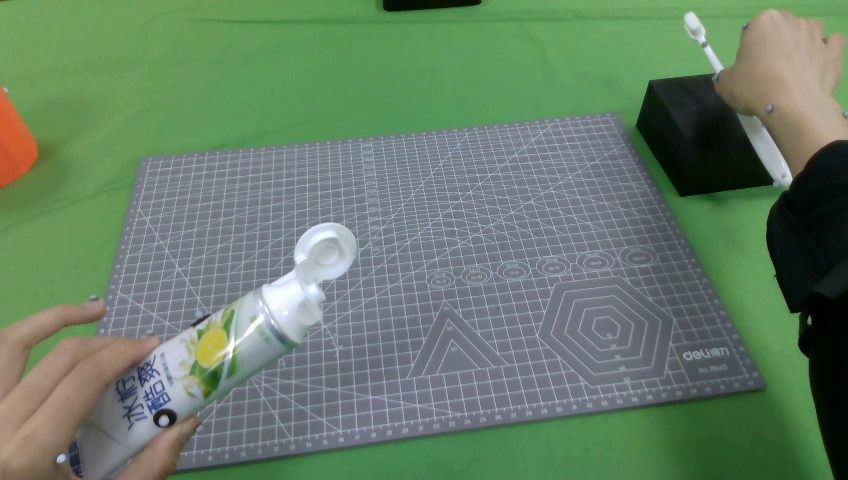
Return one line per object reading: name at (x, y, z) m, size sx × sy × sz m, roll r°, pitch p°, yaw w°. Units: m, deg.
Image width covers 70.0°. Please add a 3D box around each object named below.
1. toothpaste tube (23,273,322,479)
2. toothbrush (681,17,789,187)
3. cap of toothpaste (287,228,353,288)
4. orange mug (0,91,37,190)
toothpaste tube at (-0.123, 0.068, 0.300) m, size 0.165 × 0.035 × 0.054 m, roll -33°, pitch 58°, yaw -3°
toothbrush at (0.252, -0.119, 0.498) m, size 0.014 × 0.017 × 0.180 m, roll -24°, pitch 61°, yaw 18°
cap of toothpaste at (-0.054, 0.011, 0.319) m, size 0.037 × 0.037 × 0.011 m, roll -22°, pitch 32°, yaw -17°
orange mug at (-0.412, -0.089, 0.510) m, size 0.083 × 0.102 × 0.126 m, roll 26°, pitch 50°, yaw 22°
